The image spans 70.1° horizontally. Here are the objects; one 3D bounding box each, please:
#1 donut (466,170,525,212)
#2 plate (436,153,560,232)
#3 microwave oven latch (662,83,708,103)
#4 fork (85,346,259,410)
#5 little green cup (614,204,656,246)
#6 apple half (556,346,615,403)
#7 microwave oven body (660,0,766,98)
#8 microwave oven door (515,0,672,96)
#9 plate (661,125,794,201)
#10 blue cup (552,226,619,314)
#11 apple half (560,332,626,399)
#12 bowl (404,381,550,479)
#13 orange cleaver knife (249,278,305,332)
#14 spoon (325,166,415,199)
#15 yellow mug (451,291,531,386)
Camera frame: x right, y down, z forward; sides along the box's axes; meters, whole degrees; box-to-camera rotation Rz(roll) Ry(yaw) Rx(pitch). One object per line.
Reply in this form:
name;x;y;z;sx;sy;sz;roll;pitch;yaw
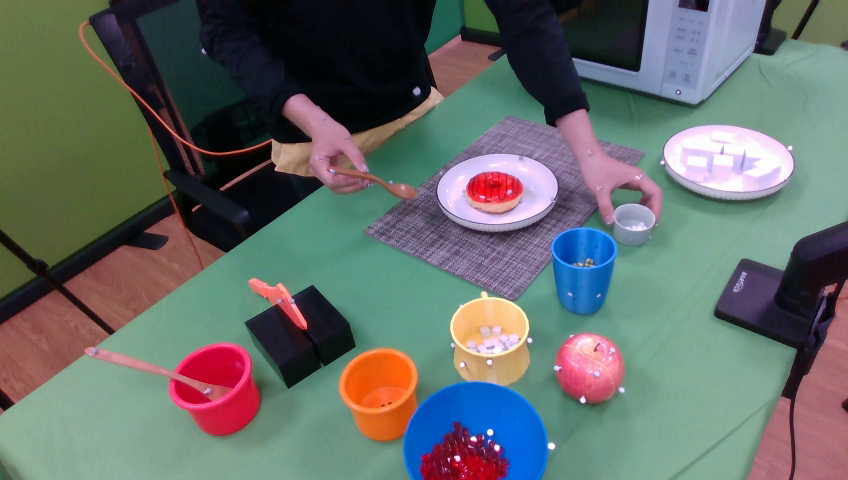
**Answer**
donut;0.121;-0.083;1.019;0.099;0.048;0.098;-4;39;3
plate;0.125;-0.078;1.029;0.209;0.038;0.208;-4;40;4
microwave oven latch;0.518;-0.297;1.204;0.078;0.029;0.030;29;53;36
fork;-0.298;0.166;0.727;0.209;0.018;0.028;28;47;-23
little green cup;0.324;-0.022;0.934;0.061;0.039;0.061;-1;47;1
apple half;0.181;0.167;0.709;0.080;0.081;0.033;29;50;35
microwave oven body;0.473;-0.513;1.317;0.438;0.261;0.327;26;51;34
microwave oven door;0.344;-0.455;1.260;0.353;0.245;0.039;26;51;33
plate;0.514;-0.128;1.035;0.207;0.039;0.206;-4;40;4
blue cup;0.218;0.047;0.825;0.092;0.101;0.092;-6;39;5
apple half;0.209;0.147;0.730;0.080;0.075;0.053;26;48;38
bowl;0.058;0.235;0.645;0.151;0.077;0.150;-4;39;4
orange cleaver knife;-0.210;0.089;0.855;0.012;0.077;0.210;-28;15;-25
spoon;-0.078;-0.090;0.915;0.021;0.195;0.041;-52;57;15
yellow mug;0.086;0.120;0.786;0.100;0.064;0.130;-7;39;1
